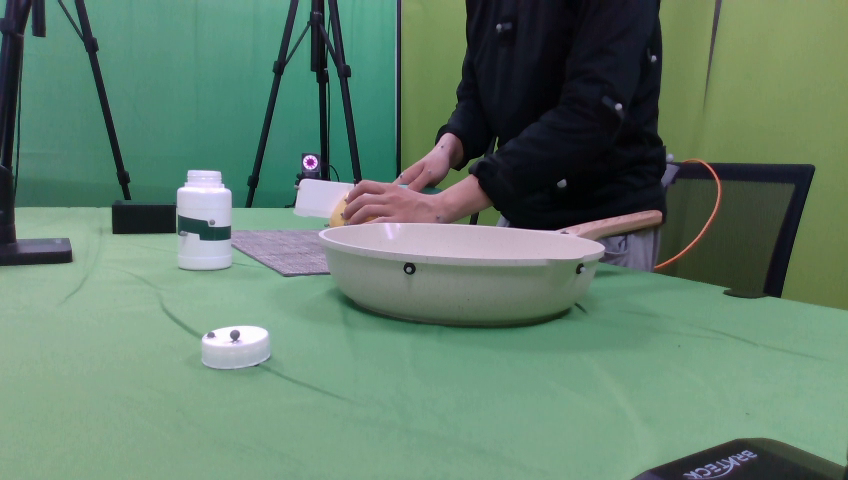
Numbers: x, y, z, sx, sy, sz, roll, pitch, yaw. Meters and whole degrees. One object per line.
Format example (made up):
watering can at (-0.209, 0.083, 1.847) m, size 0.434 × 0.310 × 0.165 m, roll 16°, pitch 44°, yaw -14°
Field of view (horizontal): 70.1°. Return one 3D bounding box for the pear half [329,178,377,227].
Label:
pear half at (-0.105, -0.042, 0.945) m, size 0.077 × 0.110 × 0.055 m, roll -9°, pitch 14°, yaw -40°

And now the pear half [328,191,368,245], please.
pear half at (-0.128, -0.036, 0.975) m, size 0.071 × 0.088 × 0.031 m, roll -9°, pitch 11°, yaw -40°

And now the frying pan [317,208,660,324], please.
frying pan at (0.121, 0.006, 0.691) m, size 0.490 × 0.102 × 0.305 m, roll -13°, pitch 15°, yaw -33°

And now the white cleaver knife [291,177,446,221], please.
white cleaver knife at (-0.082, -0.064, 0.989) m, size 0.288 × 0.066 × 0.021 m, roll 0°, pitch 10°, yaw -35°

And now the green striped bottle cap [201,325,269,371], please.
green striped bottle cap at (-0.129, 0.073, 0.415) m, size 0.044 × 0.020 × 0.044 m, roll 3°, pitch 8°, yaw 0°

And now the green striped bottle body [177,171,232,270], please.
green striped bottle body at (-0.273, -0.026, 0.752) m, size 0.063 × 0.119 × 0.063 m, roll 2°, pitch 7°, yaw 0°
